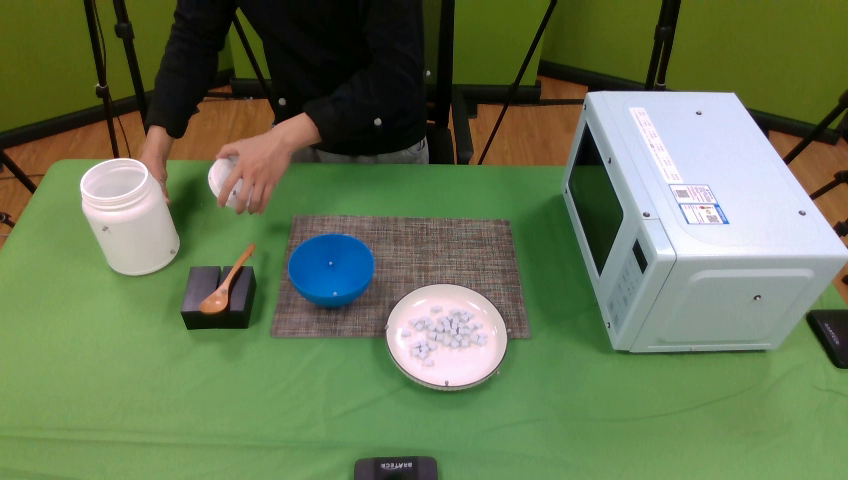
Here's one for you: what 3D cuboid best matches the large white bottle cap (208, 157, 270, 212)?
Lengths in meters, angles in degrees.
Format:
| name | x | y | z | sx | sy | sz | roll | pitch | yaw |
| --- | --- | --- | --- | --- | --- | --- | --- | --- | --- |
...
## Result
| name | x | y | z | sx | sy | sz | roll | pitch | yaw |
| --- | --- | --- | --- | --- | --- | --- | --- | --- | --- |
| large white bottle cap | -0.346 | -0.105 | 1.138 | 0.115 | 0.018 | 0.114 | 26 | 44 | -28 |

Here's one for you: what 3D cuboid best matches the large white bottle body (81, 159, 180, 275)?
| name | x | y | z | sx | sy | sz | roll | pitch | yaw |
| --- | --- | --- | --- | --- | --- | --- | --- | --- | --- |
| large white bottle body | -0.524 | -0.041 | 1.085 | 0.131 | 0.185 | 0.130 | 2 | 46 | -2 |

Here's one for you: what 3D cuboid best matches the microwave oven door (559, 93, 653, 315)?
| name | x | y | z | sx | sy | sz | roll | pitch | yaw |
| --- | --- | --- | --- | --- | --- | --- | --- | --- | --- |
| microwave oven door | 0.327 | -0.074 | 1.123 | 0.039 | 0.245 | 0.353 | -1 | 46 | -5 |

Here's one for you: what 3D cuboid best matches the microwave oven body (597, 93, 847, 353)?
| name | x | y | z | sx | sy | sz | roll | pitch | yaw |
| --- | --- | --- | --- | --- | --- | --- | --- | --- | --- |
| microwave oven body | 0.475 | -0.041 | 1.109 | 0.326 | 0.261 | 0.438 | -1 | 45 | -4 |

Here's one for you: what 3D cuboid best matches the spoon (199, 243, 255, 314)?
| name | x | y | z | sx | sy | sz | roll | pitch | yaw |
| --- | --- | --- | --- | --- | --- | --- | --- | --- | --- |
| spoon | -0.333 | 0.063 | 1.051 | 0.041 | 0.022 | 0.193 | 6 | 41 | 9 |

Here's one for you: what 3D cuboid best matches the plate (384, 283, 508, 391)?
| name | x | y | z | sx | sy | sz | roll | pitch | yaw |
| --- | --- | --- | --- | --- | --- | --- | --- | --- | --- |
| plate | 0.036 | 0.165 | 1.029 | 0.209 | 0.038 | 0.208 | 2 | 49 | -2 |

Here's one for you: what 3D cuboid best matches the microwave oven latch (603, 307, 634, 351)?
| name | x | y | z | sx | sy | sz | roll | pitch | yaw |
| --- | --- | --- | --- | --- | --- | --- | --- | --- | --- |
| microwave oven latch | 0.332 | 0.153 | 1.044 | 0.030 | 0.029 | 0.078 | 0 | 45 | -3 |

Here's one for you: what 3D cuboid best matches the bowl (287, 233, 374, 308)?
| name | x | y | z | sx | sy | sz | roll | pitch | yaw |
| --- | --- | --- | --- | --- | --- | --- | --- | --- | --- |
| bowl | -0.165 | 0.068 | 1.078 | 0.151 | 0.077 | 0.150 | 3 | 46 | -3 |
